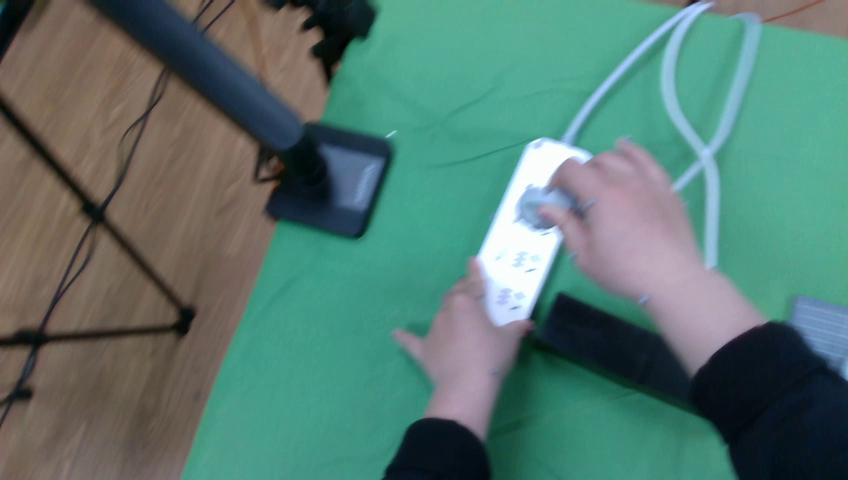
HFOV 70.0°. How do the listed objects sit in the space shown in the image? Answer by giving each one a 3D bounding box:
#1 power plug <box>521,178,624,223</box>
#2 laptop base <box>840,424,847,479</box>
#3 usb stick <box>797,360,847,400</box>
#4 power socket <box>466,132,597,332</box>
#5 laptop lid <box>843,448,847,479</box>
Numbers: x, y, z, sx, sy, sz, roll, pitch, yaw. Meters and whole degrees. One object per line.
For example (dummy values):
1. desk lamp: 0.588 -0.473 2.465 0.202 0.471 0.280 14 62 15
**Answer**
1. power plug: 0.111 -0.022 0.477 0.072 0.053 0.035 33 71 6
2. laptop base: 0.539 0.254 0.513 0.353 0.023 0.234 16 79 10
3. usb stick: 0.378 0.130 0.554 0.059 0.027 0.021 22 73 2
4. power socket: 0.113 -0.012 0.632 0.072 0.033 0.226 23 77 12
5. laptop lid: 0.536 0.253 0.502 0.355 0.013 0.241 17 78 11
